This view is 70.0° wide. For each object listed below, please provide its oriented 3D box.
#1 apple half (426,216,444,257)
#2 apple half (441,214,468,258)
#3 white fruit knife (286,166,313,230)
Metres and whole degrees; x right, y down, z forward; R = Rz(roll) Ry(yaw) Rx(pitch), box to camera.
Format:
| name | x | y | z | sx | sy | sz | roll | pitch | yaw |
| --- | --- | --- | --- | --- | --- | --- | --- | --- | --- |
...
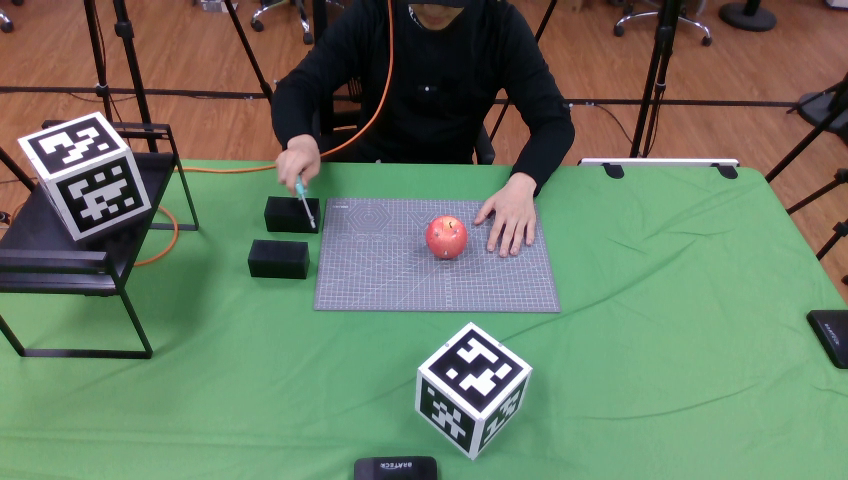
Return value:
| name | x | y | z | sx | sy | sz | roll | pitch | yaw |
| --- | --- | --- | --- | --- | --- | --- | --- | --- | --- |
| apple half | 0.019 | -0.005 | 1.158 | 0.033 | 0.081 | 0.081 | 4 | 46 | -7 |
| apple half | 0.058 | -0.005 | 1.162 | 0.053 | 0.075 | 0.080 | 4 | 41 | -6 |
| white fruit knife | -0.228 | -0.081 | 1.118 | 0.016 | 0.027 | 0.206 | -18 | 43 | -12 |
